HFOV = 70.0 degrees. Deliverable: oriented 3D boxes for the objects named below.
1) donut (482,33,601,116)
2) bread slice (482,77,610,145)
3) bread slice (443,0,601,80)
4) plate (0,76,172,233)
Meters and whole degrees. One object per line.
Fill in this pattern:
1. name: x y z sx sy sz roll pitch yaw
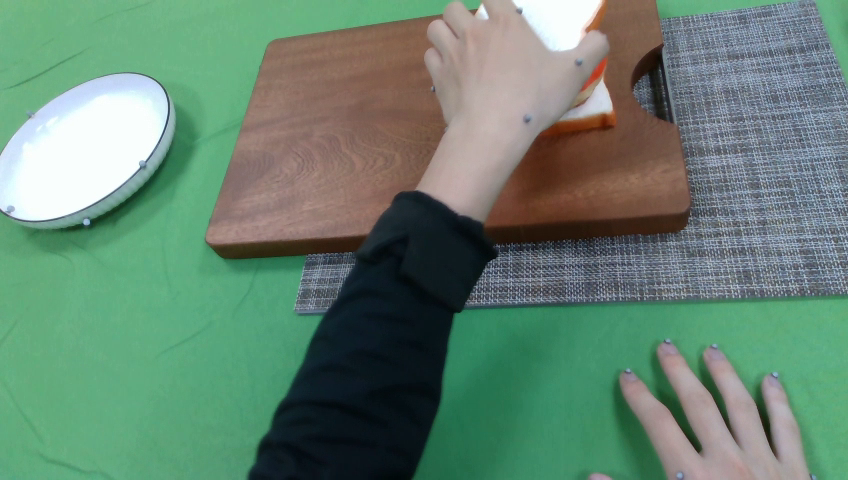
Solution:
1. donut: 0.095 -0.145 0.500 0.099 0.049 0.098 -6 58 9
2. bread slice: 0.100 -0.142 0.534 0.105 0.019 0.130 -6 57 10
3. bread slice: 0.084 -0.174 0.484 0.106 0.018 0.133 7 54 24
4. plate: -0.363 -0.091 0.651 0.209 0.038 0.207 -7 56 11
